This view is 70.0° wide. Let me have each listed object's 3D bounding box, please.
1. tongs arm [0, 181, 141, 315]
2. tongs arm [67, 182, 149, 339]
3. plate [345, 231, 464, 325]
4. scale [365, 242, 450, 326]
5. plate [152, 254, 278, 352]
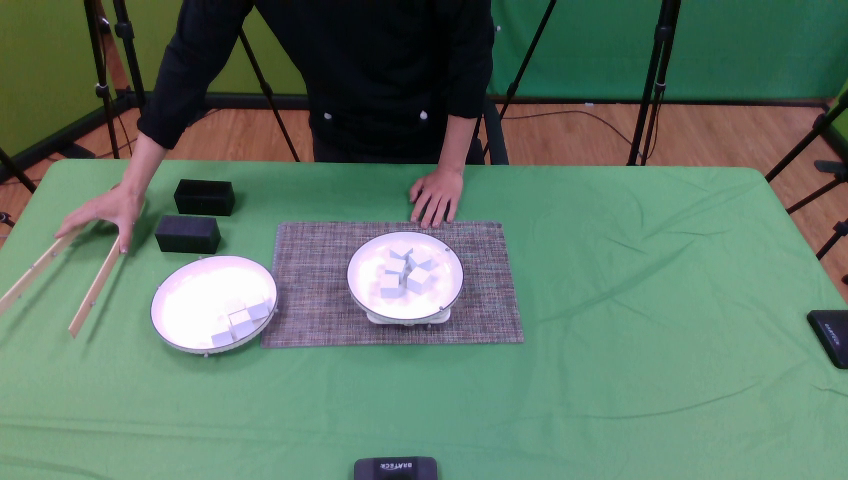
[{"bbox_3d":[-0.646,0.010,1.113,0.051,0.026,0.383,10,43,6],"label":"tongs arm"},{"bbox_3d":[-0.570,0.022,1.111,0.028,0.028,0.385,-1,43,0],"label":"tongs arm"},{"bbox_3d":[-0.034,0.069,1.069,0.209,0.038,0.208,2,46,-2],"label":"plate"},{"bbox_3d":[-0.032,0.071,1.113,0.149,0.032,0.199,0,46,-4],"label":"scale"},{"bbox_3d":[-0.357,0.111,1.052,0.208,0.039,0.206,2,46,-2],"label":"plate"}]
